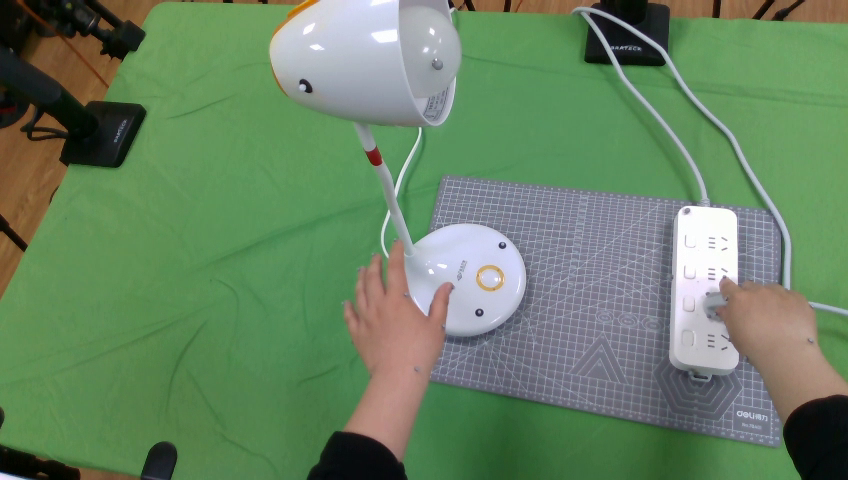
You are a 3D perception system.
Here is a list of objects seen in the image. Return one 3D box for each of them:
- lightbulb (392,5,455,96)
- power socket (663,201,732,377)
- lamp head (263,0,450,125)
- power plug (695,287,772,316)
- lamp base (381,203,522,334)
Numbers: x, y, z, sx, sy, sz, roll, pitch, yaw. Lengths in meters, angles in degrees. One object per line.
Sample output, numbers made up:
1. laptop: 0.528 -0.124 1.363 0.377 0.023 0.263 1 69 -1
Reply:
1. lightbulb: -0.031 -0.132 0.425 0.107 0.060 0.059 7 66 22
2. power socket: 0.334 0.052 0.739 0.072 0.033 0.225 7 66 12
3. lamp head: -0.050 -0.133 0.441 0.122 0.113 0.111 -4 63 25
4. power plug: 0.353 0.077 0.702 0.072 0.053 0.035 19 69 15
5. lamp base: 0.022 0.013 0.729 0.179 0.182 0.159 1 65 14
